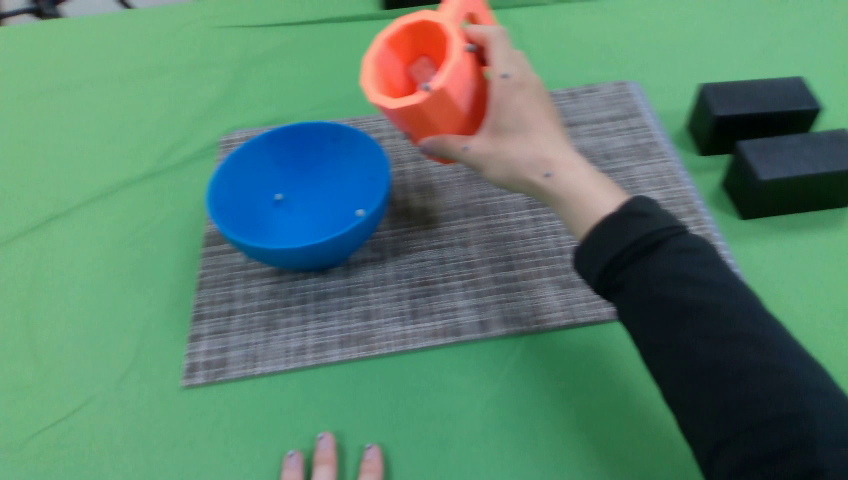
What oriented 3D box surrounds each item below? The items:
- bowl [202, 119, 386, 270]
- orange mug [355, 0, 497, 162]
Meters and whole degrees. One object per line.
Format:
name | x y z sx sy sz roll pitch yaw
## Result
bowl | -0.103 -0.027 0.524 0.151 0.077 0.150 -3 50 3
orange mug | 0.012 -0.140 0.503 0.083 0.102 0.126 26 89 34
